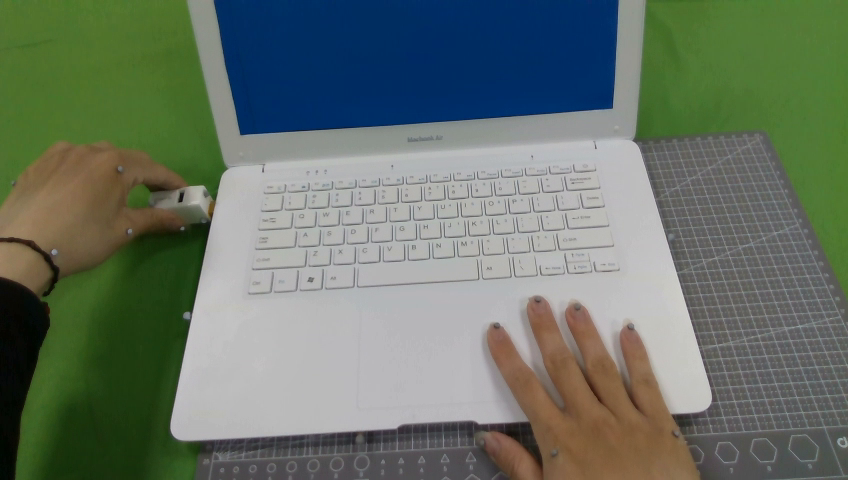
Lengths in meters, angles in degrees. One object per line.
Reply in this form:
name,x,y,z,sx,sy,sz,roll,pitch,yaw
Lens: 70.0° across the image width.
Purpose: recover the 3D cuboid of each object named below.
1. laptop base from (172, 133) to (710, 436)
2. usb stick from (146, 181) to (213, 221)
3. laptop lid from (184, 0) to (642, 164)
laptop base,0.005,0.022,0.457,0.354,0.023,0.233,-4,59,2
usb stick,-0.192,-0.032,0.495,0.059,0.027,0.021,-4,56,0
laptop lid,-0.008,-0.178,0.469,0.357,0.243,0.013,-5,26,3
